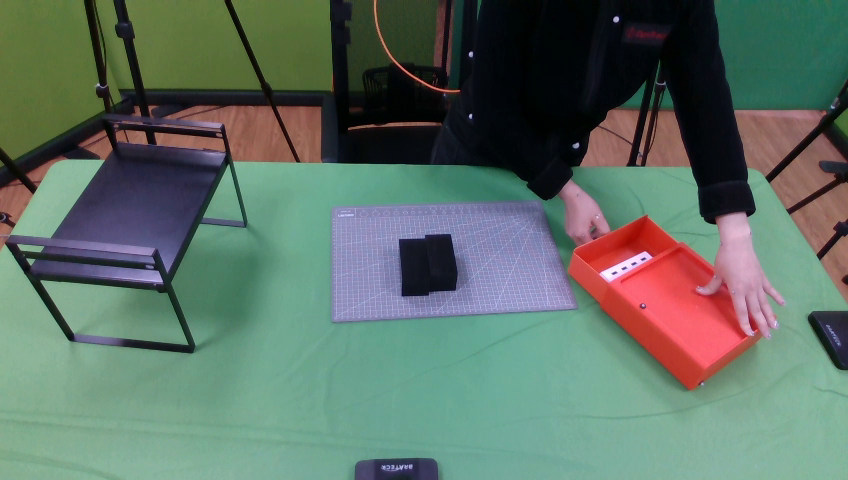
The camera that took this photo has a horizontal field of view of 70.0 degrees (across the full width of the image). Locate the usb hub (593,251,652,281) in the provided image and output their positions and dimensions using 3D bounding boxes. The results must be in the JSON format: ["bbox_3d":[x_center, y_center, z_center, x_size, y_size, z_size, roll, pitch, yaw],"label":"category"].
[{"bbox_3d":[0.387,0.054,1.152,0.125,0.025,0.049,-9,46,-20],"label":"usb hub"}]

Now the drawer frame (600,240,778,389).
[{"bbox_3d":[0.460,0.122,1.067,0.202,0.083,0.212,-25,53,-25],"label":"drawer frame"}]

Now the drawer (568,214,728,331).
[{"bbox_3d":[0.410,0.067,1.118,0.194,0.073,0.210,-22,51,-24],"label":"drawer"}]
